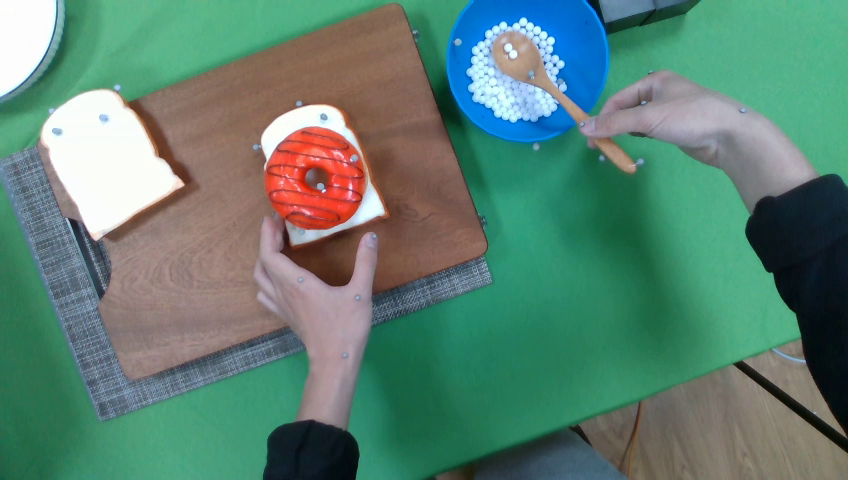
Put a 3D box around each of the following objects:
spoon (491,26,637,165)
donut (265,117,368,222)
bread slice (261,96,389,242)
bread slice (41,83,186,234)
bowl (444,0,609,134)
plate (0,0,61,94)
[{"bbox_3d":[0.124,-0.133,0.550,0.041,0.022,0.192,-37,60,4],"label":"spoon"},{"bbox_3d":[-0.102,-0.066,0.574,0.099,0.048,0.099,0,95,1],"label":"donut"},{"bbox_3d":[-0.107,-0.074,0.604,0.105,0.019,0.131,-21,94,1],"label":"bread slice"},{"bbox_3d":[-0.318,-0.086,0.607,0.107,0.018,0.134,-34,91,2],"label":"bread slice"},{"bbox_3d":[0.095,-0.174,0.592,0.151,0.077,0.151,0,93,1],"label":"bowl"},{"bbox_3d":[-0.470,-0.245,0.621,0.207,0.039,0.207,0,94,1],"label":"plate"}]
